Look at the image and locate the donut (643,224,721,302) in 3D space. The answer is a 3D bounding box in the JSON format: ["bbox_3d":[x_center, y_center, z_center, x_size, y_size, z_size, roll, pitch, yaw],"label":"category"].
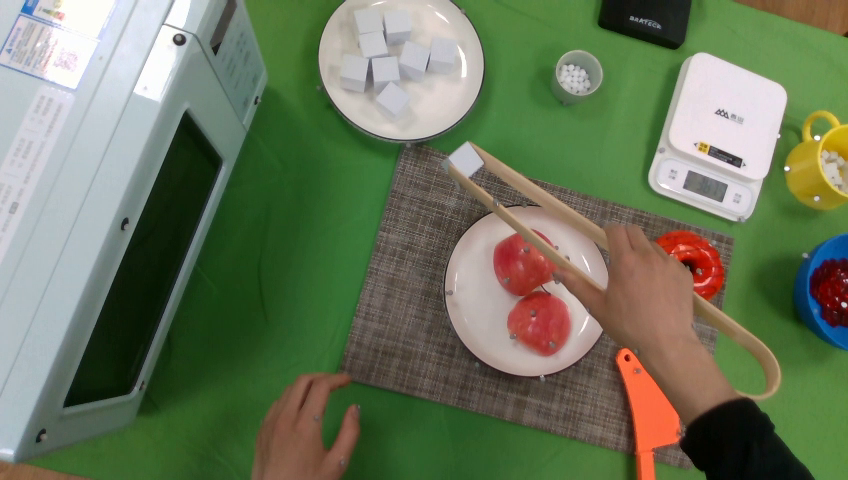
[{"bbox_3d":[0.321,0.029,0.761,0.099,0.048,0.098,1,82,-4],"label":"donut"}]

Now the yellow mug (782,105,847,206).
[{"bbox_3d":[0.535,-0.116,0.800,0.100,0.064,0.130,-16,83,-8],"label":"yellow mug"}]

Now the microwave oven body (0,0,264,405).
[{"bbox_3d":[-0.395,-0.080,0.581,0.326,0.260,0.440,19,81,-4],"label":"microwave oven body"}]

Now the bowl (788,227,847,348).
[{"bbox_3d":[0.522,0.063,0.767,0.151,0.077,0.151,1,82,-6],"label":"bowl"}]

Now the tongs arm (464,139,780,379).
[{"bbox_3d":[0.188,0.006,0.626,0.385,0.028,0.028,38,64,18],"label":"tongs arm"}]

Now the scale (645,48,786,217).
[{"bbox_3d":[0.388,-0.143,0.803,0.149,0.031,0.200,20,81,-3],"label":"scale"}]

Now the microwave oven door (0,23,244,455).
[{"bbox_3d":[-0.270,0.006,0.578,0.039,0.244,0.354,18,80,-3],"label":"microwave oven door"}]

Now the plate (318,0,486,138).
[{"bbox_3d":[-0.027,-0.224,0.763,0.208,0.039,0.207,1,81,-7],"label":"plate"}]

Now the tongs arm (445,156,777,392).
[{"bbox_3d":[0.173,0.021,0.619,0.051,0.027,0.382,-40,69,-19],"label":"tongs arm"}]

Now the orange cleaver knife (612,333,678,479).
[{"bbox_3d":[0.275,0.219,0.741,0.077,0.012,0.210,-1,81,-12],"label":"orange cleaver knife"}]

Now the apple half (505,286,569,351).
[{"bbox_3d":[0.140,0.091,0.727,0.081,0.033,0.081,0,83,-1],"label":"apple half"}]

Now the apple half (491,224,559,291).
[{"bbox_3d":[0.123,0.017,0.726,0.081,0.053,0.074,-23,81,-10],"label":"apple half"}]

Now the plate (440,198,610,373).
[{"bbox_3d":[0.121,0.054,0.737,0.209,0.038,0.208,1,82,-7],"label":"plate"}]

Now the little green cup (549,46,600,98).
[{"bbox_3d":[0.193,-0.216,0.788,0.061,0.038,0.061,1,81,-6],"label":"little green cup"}]

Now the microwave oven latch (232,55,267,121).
[{"bbox_3d":[-0.211,-0.183,0.716,0.030,0.029,0.079,21,81,-4],"label":"microwave oven latch"}]
